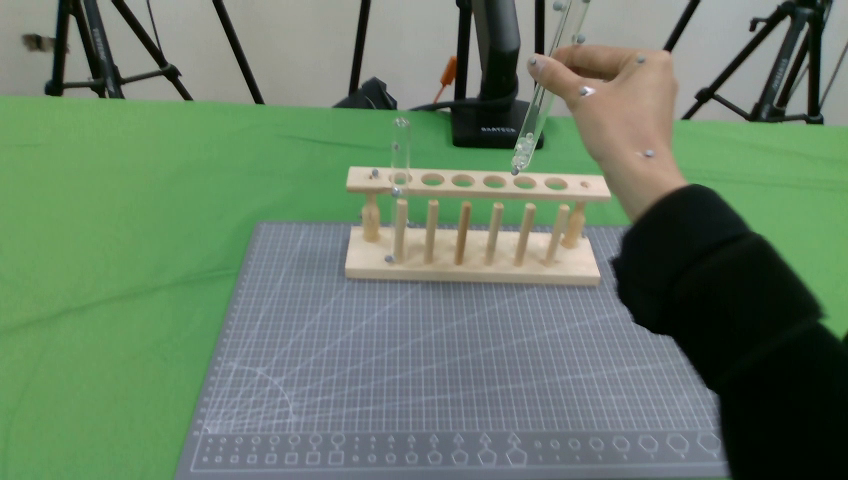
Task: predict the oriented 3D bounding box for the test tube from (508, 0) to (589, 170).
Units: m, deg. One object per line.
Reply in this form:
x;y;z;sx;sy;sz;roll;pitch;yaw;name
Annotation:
0.087;-0.111;0.434;0.017;0.151;0.017;7;45;-7;test tube

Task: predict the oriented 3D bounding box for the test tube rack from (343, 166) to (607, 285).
0.046;-0.013;0.577;0.242;0.086;0.066;2;39;-2;test tube rack

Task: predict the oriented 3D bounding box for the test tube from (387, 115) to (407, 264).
-0.024;-0.040;0.533;0.017;0.152;0.017;2;38;-1;test tube
